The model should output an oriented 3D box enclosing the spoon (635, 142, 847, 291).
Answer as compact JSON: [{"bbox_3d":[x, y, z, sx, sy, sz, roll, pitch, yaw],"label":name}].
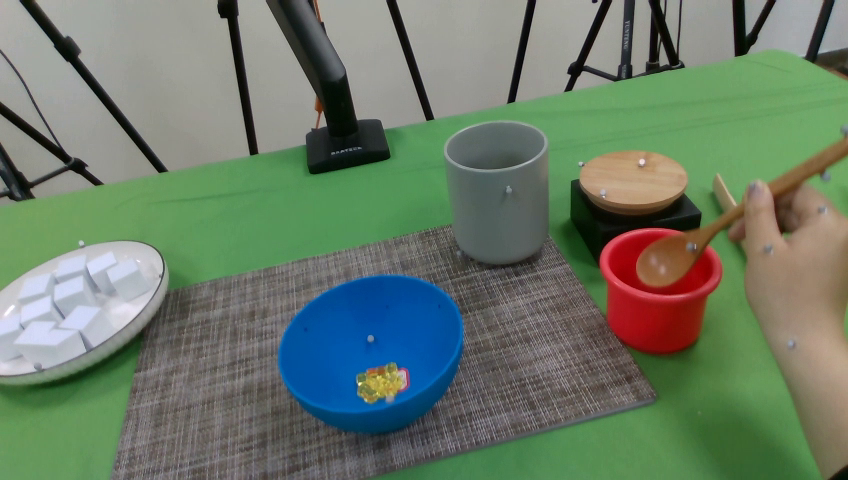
[{"bbox_3d":[0.234,-0.013,0.461,0.022,0.194,0.041,9,57,-23],"label":"spoon"}]

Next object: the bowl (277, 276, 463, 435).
[{"bbox_3d":[-0.038,0.108,0.506,0.151,0.077,0.150,-6,37,5],"label":"bowl"}]

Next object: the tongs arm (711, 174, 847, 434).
[{"bbox_3d":[0.331,0.049,0.553,0.028,0.028,0.384,-3,37,5],"label":"tongs arm"}]

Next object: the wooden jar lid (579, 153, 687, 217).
[{"bbox_3d":[0.220,-0.058,0.642,0.108,0.021,0.107,-7,37,5],"label":"wooden jar lid"}]

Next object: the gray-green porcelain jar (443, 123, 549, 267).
[{"bbox_3d":[0.078,-0.043,0.641,0.106,0.128,0.105,-6,37,5],"label":"gray-green porcelain jar"}]

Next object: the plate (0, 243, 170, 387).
[{"bbox_3d":[-0.376,0.080,0.653,0.209,0.038,0.207,-7,37,5],"label":"plate"}]
